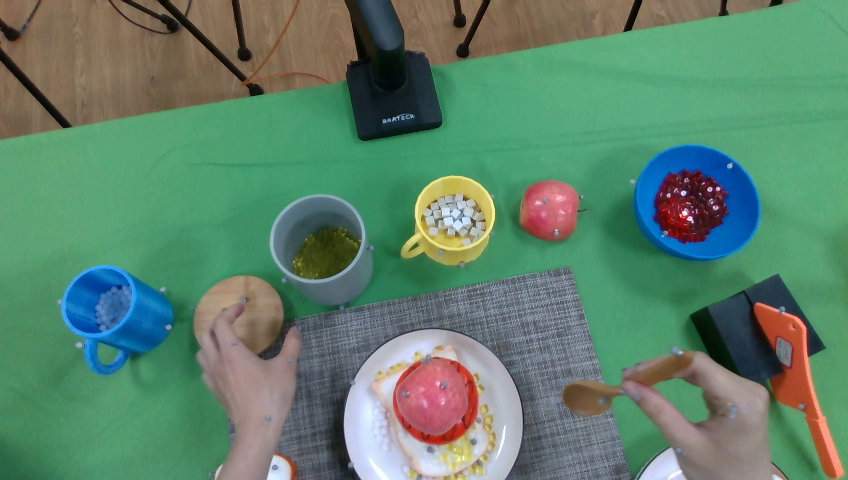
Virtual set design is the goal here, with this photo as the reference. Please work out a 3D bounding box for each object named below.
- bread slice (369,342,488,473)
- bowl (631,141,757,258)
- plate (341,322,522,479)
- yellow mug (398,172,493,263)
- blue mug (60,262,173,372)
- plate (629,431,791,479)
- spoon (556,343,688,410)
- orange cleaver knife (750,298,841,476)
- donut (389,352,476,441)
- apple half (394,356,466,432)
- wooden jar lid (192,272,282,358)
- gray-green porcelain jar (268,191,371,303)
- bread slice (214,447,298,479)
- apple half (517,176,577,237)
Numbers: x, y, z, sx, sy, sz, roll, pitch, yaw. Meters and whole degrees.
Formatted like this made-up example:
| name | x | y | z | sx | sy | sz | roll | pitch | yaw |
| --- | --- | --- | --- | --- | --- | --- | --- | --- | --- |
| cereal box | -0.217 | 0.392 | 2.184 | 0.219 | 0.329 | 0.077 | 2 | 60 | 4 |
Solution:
| name | x | y | z | sx | sy | sz | roll | pitch | yaw |
| --- | --- | --- | --- | --- | --- | --- | --- | --- | --- |
| bread slice | 0.014 | 0.199 | 0.707 | 0.107 | 0.018 | 0.133 | -27 | 74 | -9 |
| bowl | 0.328 | -0.041 | 0.769 | 0.151 | 0.077 | 0.150 | 0 | 73 | 0 |
| plate | 0.009 | 0.201 | 0.705 | 0.208 | 0.039 | 0.206 | 0 | 72 | 0 |
| yellow mug | 0.022 | -0.019 | 0.765 | 0.131 | 0.064 | 0.099 | -34 | 75 | -10 |
| blue mug | -0.357 | 0.095 | 0.703 | 0.082 | 0.106 | 0.116 | 9 | 72 | 3 |
| plate | 0.319 | 0.321 | 0.673 | 0.209 | 0.038 | 0.208 | 0 | 72 | 0 |
| spoon | 0.153 | 0.112 | 0.481 | 0.041 | 0.194 | 0.021 | 33 | 67 | 4 |
| orange cleaver knife | 0.427 | 0.168 | 0.701 | 0.012 | 0.077 | 0.211 | -21 | 95 | -14 |
| donut | 0.010 | 0.176 | 0.683 | 0.099 | 0.048 | 0.098 | 0 | 72 | -1 |
| apple half | 0.007 | 0.165 | 0.649 | 0.081 | 0.033 | 0.081 | -2 | 72 | 6 |
| wooden jar lid | -0.228 | 0.093 | 0.747 | 0.108 | 0.021 | 0.107 | 0 | 69 | 1 |
| gray-green porcelain jar | -0.119 | 0.015 | 0.721 | 0.106 | 0.127 | 0.105 | 0 | 72 | -1 |
| bread slice | -0.194 | 0.302 | 0.681 | 0.105 | 0.019 | 0.130 | -3 | 73 | -3 |
| apple half | 0.161 | -0.049 | 0.783 | 0.074 | 0.053 | 0.080 | 10 | 72 | 5 |
